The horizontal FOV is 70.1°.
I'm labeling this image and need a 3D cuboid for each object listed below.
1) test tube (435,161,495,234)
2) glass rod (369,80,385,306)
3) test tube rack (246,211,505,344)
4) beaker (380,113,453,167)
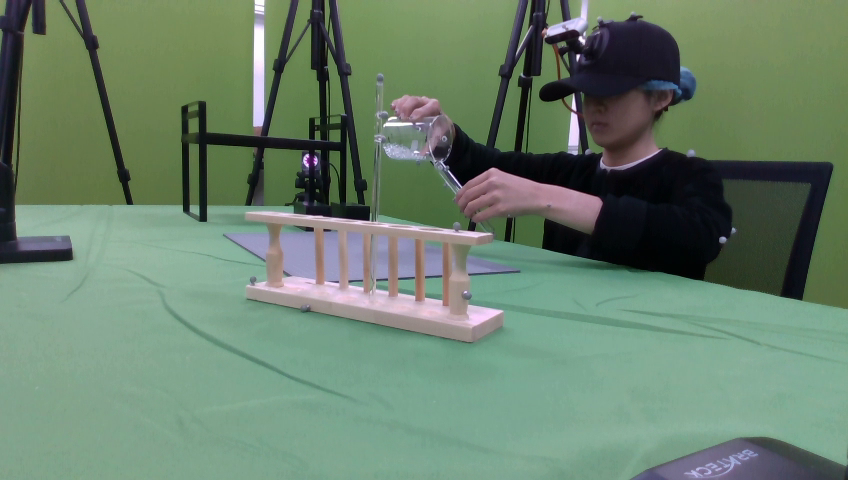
[{"bbox_3d":[0.063,-0.065,0.936,0.017,0.017,0.149,-7,55,-52],"label":"test tube"},{"bbox_3d":[-0.041,-0.039,0.530,0.008,0.199,0.008,3,2,0],"label":"glass rod"},{"bbox_3d":[-0.049,0.025,0.547,0.241,0.085,0.067,7,8,29],"label":"test tube rack"},{"bbox_3d":[-0.014,-0.163,0.984,0.100,0.084,0.074,7,4,31],"label":"beaker"}]
